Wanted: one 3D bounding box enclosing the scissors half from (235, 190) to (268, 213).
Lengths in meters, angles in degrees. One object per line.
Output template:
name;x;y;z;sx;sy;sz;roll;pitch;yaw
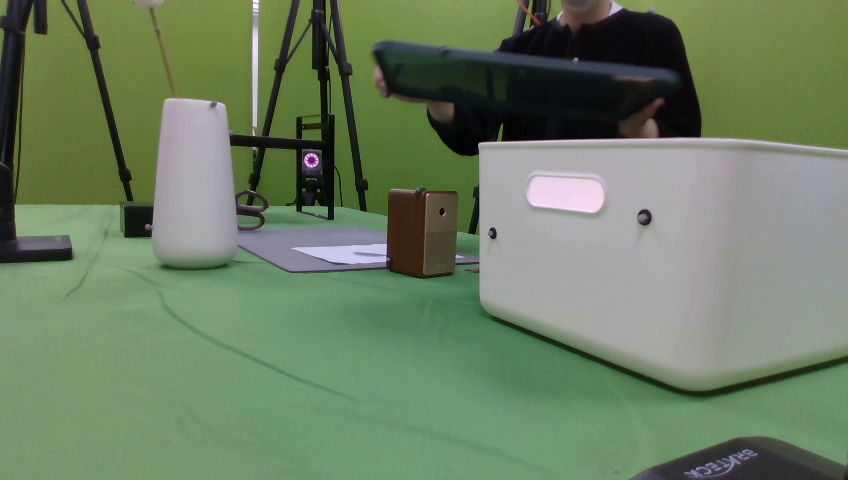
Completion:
scissors half;-0.363;-0.070;1.060;0.176;0.040;0.013;0;16;-23

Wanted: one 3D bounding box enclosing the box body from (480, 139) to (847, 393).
box body;0.255;0.001;0.541;0.366;0.160;0.253;-2;9;-31

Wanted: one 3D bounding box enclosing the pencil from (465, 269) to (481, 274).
pencil;0.149;0.041;0.804;0.194;0.012;0.012;0;8;-11

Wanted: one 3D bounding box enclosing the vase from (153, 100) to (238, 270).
vase;-0.278;-0.066;0.736;0.098;0.200;0.098;2;9;0

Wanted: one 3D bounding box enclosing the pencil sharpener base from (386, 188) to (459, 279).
pencil sharpener base;-0.004;-0.011;0.761;0.062;0.107;0.076;-5;10;-44

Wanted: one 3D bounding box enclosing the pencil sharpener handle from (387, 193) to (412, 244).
pencil sharpener handle;-0.038;-0.029;0.797;0.036;0.068;0.030;-13;16;-42

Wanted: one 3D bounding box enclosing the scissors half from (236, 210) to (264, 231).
scissors half;-0.369;-0.051;1.064;0.176;0.040;0.012;19;13;-27

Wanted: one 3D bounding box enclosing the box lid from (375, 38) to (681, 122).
box lid;0.124;-0.207;0.822;0.372;0.015;0.263;8;1;1

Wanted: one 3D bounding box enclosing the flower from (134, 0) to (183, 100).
flower;-0.282;-0.147;0.713;0.038;0.362;0.044;-23;24;-31
